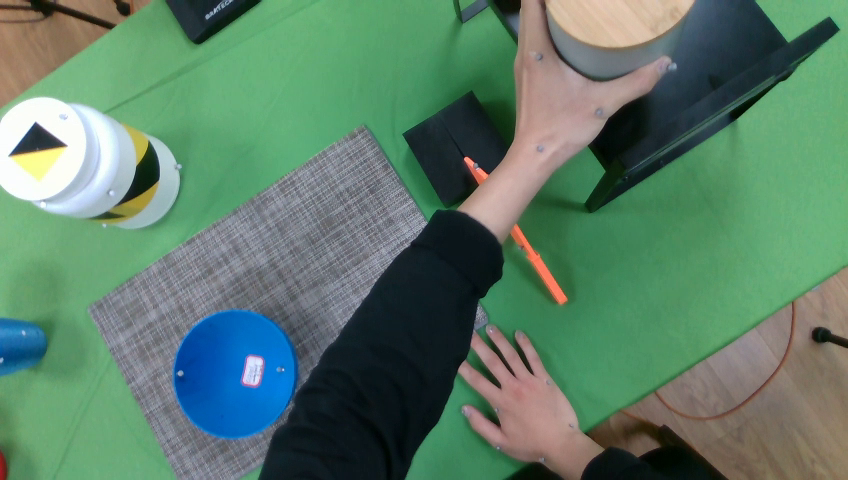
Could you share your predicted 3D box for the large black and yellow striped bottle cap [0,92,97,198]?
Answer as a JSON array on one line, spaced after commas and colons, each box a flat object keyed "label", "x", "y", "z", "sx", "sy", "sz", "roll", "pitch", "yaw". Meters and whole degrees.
[{"label": "large black and yellow striped bottle cap", "x": -0.413, "y": -0.103, "z": 0.657, "sx": 0.115, "sy": 0.019, "sz": 0.115, "roll": -1, "pitch": 86, "yaw": 8}]

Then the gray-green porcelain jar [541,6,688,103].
[{"label": "gray-green porcelain jar", "x": 0.150, "y": -0.174, "z": 0.482, "sx": 0.105, "sy": 0.127, "sz": 0.105, "roll": -2, "pitch": 83, "yaw": 15}]

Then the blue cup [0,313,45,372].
[{"label": "blue cup", "x": -0.550, "y": 0.133, "z": 0.780, "sx": 0.092, "sy": 0.100, "sz": 0.092, "roll": 0, "pitch": 85, "yaw": 5}]

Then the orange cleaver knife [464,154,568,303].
[{"label": "orange cleaver knife", "x": 0.109, "y": -0.013, "z": 0.719, "sx": 0.012, "sy": 0.076, "sz": 0.213, "roll": -36, "pitch": 111, "yaw": -1}]

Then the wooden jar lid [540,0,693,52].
[{"label": "wooden jar lid", "x": 0.134, "y": -0.182, "z": 0.422, "sx": 0.108, "sy": 0.021, "sz": 0.108, "roll": -2, "pitch": 85, "yaw": 17}]

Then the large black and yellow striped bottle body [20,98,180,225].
[{"label": "large black and yellow striped bottle body", "x": -0.403, "y": -0.093, "z": 0.740, "sx": 0.130, "sy": 0.184, "sz": 0.130, "roll": -1, "pitch": 84, "yaw": 7}]

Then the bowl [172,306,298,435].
[{"label": "bowl", "x": -0.219, "y": 0.156, "z": 0.744, "sx": 0.151, "sy": 0.077, "sz": 0.151, "roll": -1, "pitch": 85, "yaw": 7}]
